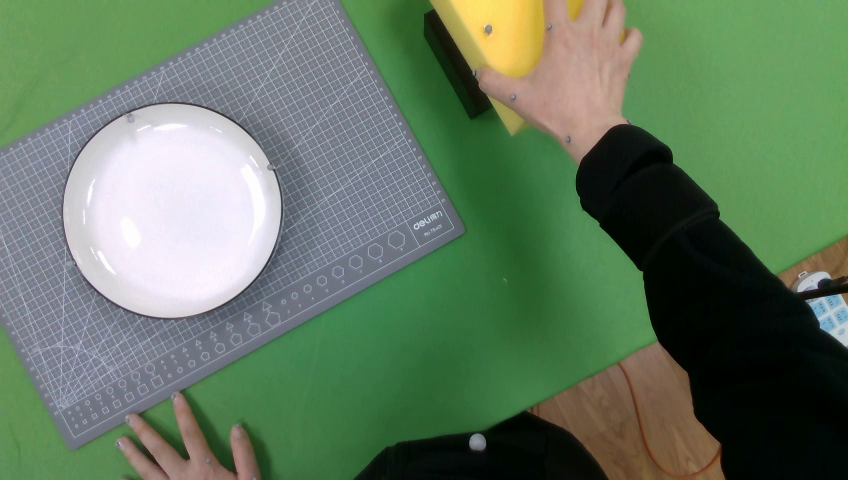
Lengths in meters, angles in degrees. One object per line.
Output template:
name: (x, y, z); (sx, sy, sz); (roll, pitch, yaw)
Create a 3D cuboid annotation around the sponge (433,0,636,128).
sponge: (0.081, -0.223, 0.548); (0.118, 0.061, 0.206); (-32, 90, -2)

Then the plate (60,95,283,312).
plate: (-0.240, -0.034, 0.591); (0.209, 0.038, 0.209); (0, 88, -2)
